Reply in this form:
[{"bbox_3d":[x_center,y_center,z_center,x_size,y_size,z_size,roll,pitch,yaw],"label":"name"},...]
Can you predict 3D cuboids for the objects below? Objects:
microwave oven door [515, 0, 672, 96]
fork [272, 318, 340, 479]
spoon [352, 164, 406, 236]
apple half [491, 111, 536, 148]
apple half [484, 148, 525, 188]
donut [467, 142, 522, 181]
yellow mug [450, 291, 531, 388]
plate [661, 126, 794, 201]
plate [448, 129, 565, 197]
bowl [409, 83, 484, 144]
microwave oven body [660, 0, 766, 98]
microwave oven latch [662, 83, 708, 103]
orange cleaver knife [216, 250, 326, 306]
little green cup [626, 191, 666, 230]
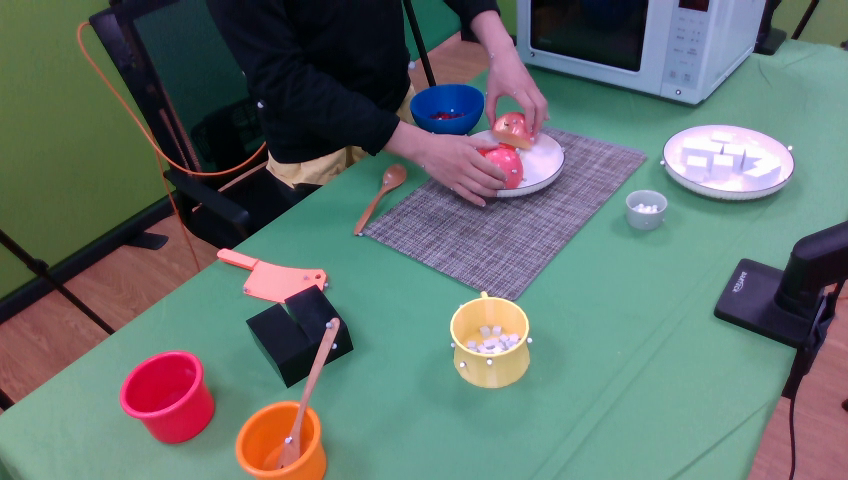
[{"bbox_3d":[0.343,-0.454,1.259,0.353,0.245,0.039,26,51,33],"label":"microwave oven door"},{"bbox_3d":[-0.131,0.186,0.676,0.028,0.019,0.207,17,90,28],"label":"fork"},{"bbox_3d":[-0.083,-0.074,1.074,0.041,0.022,0.194,22,46,10],"label":"spoon"},{"bbox_3d":[0.172,-0.209,1.122,0.080,0.075,0.053,19,85,46],"label":"apple half"},{"bbox_3d":[0.142,-0.126,1.024,0.082,0.032,0.081,13,65,-28],"label":"apple half"},{"bbox_3d":[0.127,-0.144,1.090,0.099,0.048,0.098,-5,36,4],"label":"donut"},{"bbox_3d":[0.085,0.120,0.786,0.100,0.064,0.130,-7,39,1],"label":"yellow mug"},{"bbox_3d":[0.513,-0.128,1.035,0.207,0.039,0.206,-4,40,4],"label":"plate"},{"bbox_3d":[0.149,-0.138,1.096,0.209,0.038,0.208,-4,39,4],"label":"plate"},{"bbox_3d":[0.048,-0.245,1.213,0.151,0.077,0.150,-4,40,4],"label":"bowl"},{"bbox_3d":[0.472,-0.513,1.317,0.438,0.261,0.327,26,51,34],"label":"microwave oven body"},{"bbox_3d":[0.518,-0.296,1.204,0.078,0.029,0.030,28,52,35],"label":"microwave oven latch"},{"bbox_3d":[-0.248,0.058,0.945,0.210,0.012,0.077,13,49,20],"label":"orange cleaver knife"},{"bbox_3d":[0.352,-0.046,0.963,0.061,0.039,0.061,-4,40,4],"label":"little green cup"}]
